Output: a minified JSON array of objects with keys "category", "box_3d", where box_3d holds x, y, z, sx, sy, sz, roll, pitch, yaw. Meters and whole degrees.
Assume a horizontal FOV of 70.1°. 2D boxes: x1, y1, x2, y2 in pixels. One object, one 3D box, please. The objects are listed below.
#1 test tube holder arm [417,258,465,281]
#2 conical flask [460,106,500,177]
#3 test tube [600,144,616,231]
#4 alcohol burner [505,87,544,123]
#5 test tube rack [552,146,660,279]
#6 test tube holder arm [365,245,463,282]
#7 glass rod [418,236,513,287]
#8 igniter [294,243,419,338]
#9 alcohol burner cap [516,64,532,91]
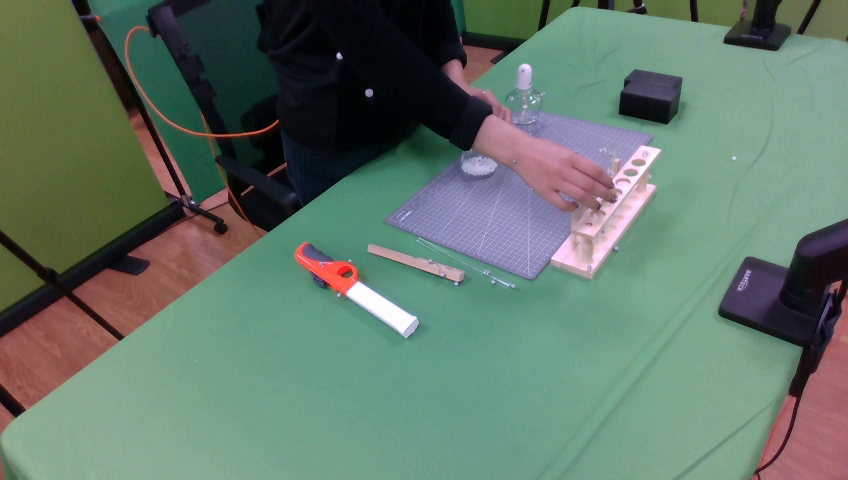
[{"category":"test tube holder arm","box_3d":[0.022,0.045,0.931,0.087,0.015,0.010,16,10,28]},{"category":"conical flask","box_3d":[0.098,-0.181,1.097,0.075,0.122,0.075,-6,40,5]},{"category":"test tube","box_3d":[0.262,-0.071,0.865,0.017,0.151,0.017,-6,41,6]},{"category":"alcohol burner","box_3d":[0.203,-0.297,1.221,0.078,0.119,0.077,-4,39,4]},{"category":"test tube rack","box_3d":[0.287,-0.053,0.943,0.066,0.085,0.243,21,49,32]},{"category":"test tube holder arm","box_3d":[-0.019,0.035,0.947,0.177,0.015,0.013,15,10,27]},{"category":"glass rod","box_3d":[0.060,0.032,0.945,0.198,0.008,0.008,27,52,38]},{"category":"igniter","box_3d":[-0.113,0.070,0.919,0.274,0.025,0.057,29,62,37]},{"category":"alcohol burner cap","box_3d":[0.200,-0.324,1.197,0.034,0.048,0.033,-1,45,1]}]
